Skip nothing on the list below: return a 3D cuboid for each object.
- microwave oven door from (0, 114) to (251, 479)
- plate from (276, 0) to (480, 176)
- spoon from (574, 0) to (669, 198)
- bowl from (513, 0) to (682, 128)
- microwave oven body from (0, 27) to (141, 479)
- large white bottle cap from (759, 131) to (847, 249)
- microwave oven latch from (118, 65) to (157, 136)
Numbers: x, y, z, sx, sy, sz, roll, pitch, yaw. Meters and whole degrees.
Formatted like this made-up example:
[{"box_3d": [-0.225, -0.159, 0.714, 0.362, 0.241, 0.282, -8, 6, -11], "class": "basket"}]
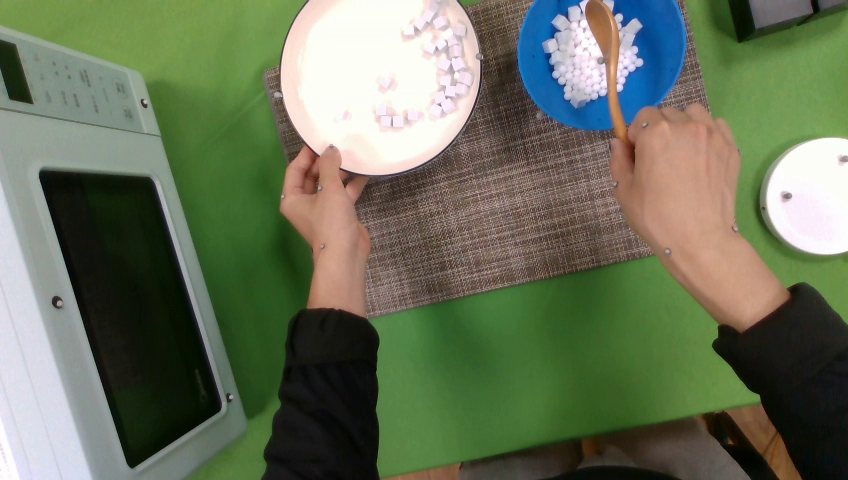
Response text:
[{"box_3d": [-0.288, 0.063, 0.591, 0.039, 0.244, 0.356, -17, 91, 11], "class": "microwave oven door"}, {"box_3d": [-0.046, -0.168, 0.618, 0.209, 0.038, 0.209, 0, 92, 9], "class": "plate"}, {"box_3d": [0.168, -0.123, 0.519, 0.022, 0.042, 0.192, -10, 76, -15], "class": "spoon"}, {"box_3d": [0.164, -0.181, 0.589, 0.151, 0.077, 0.151, 1, 95, 10], "class": "bowl"}, {"box_3d": [-0.437, 0.063, 0.622, 0.326, 0.260, 0.442, -16, 92, 10], "class": "microwave oven body"}, {"box_3d": [0.392, -0.048, 0.595, 0.114, 0.018, 0.115, 1, 95, 9], "class": "large white bottle cap"}, {"box_3d": [-0.331, -0.154, 0.683, 0.030, 0.029, 0.079, -17, 92, 10], "class": "microwave oven latch"}]
